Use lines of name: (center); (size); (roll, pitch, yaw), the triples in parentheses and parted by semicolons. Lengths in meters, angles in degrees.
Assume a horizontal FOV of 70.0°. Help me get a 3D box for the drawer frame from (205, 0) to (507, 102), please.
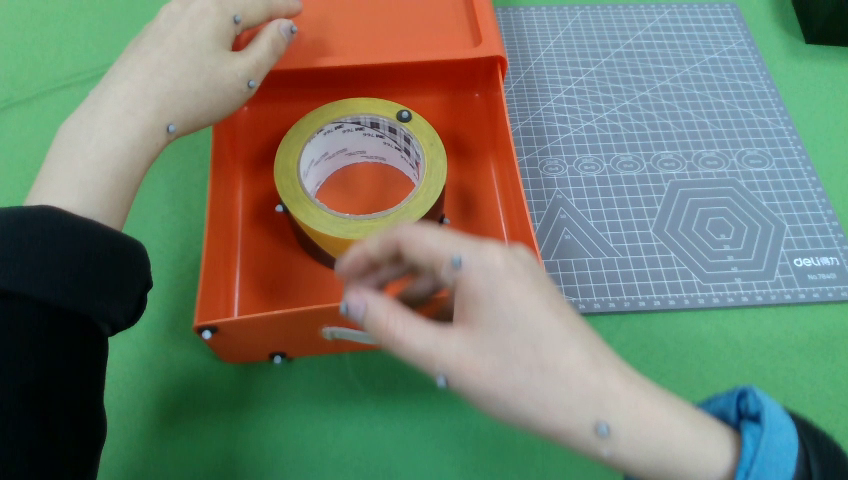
drawer frame: (-0.055, -0.185, 0.477); (0.202, 0.083, 0.211); (-6, 60, -5)

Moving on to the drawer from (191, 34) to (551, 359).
drawer: (-0.037, -0.037, 0.396); (0.195, 0.074, 0.210); (-5, 62, -4)

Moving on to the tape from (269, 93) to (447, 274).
tape: (-0.040, -0.038, 0.405); (0.117, 0.053, 0.116); (1, 63, -2)
